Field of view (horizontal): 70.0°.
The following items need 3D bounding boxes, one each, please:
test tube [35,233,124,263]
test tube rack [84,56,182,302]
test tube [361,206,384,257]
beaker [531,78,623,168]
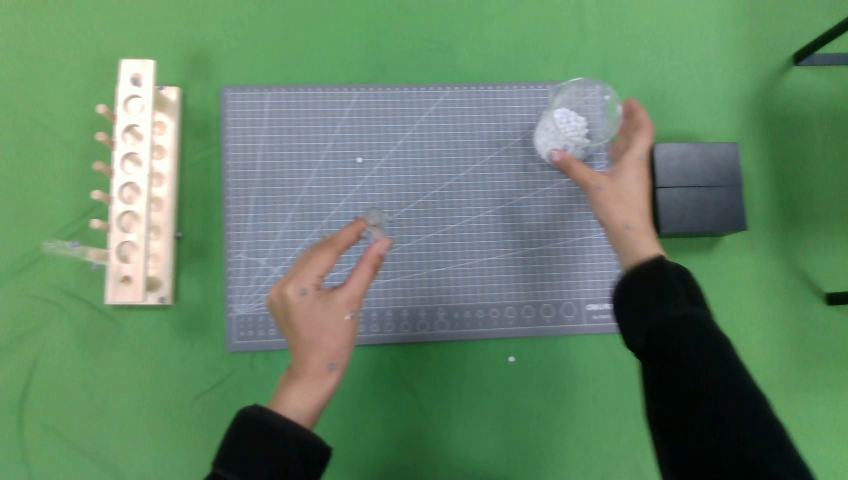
[{"bbox_3d":[-0.323,0.010,0.575,0.017,0.150,0.017,1,83,-5],"label":"test tube"},{"bbox_3d":[-0.305,-0.058,0.629,0.067,0.085,0.241,1,83,-4],"label":"test tube rack"},{"bbox_3d":[-0.043,-0.004,0.520,0.017,0.150,0.017,1,79,-3],"label":"test tube"},{"bbox_3d":[0.160,-0.126,0.668,0.084,0.100,0.074,35,81,2],"label":"beaker"}]
